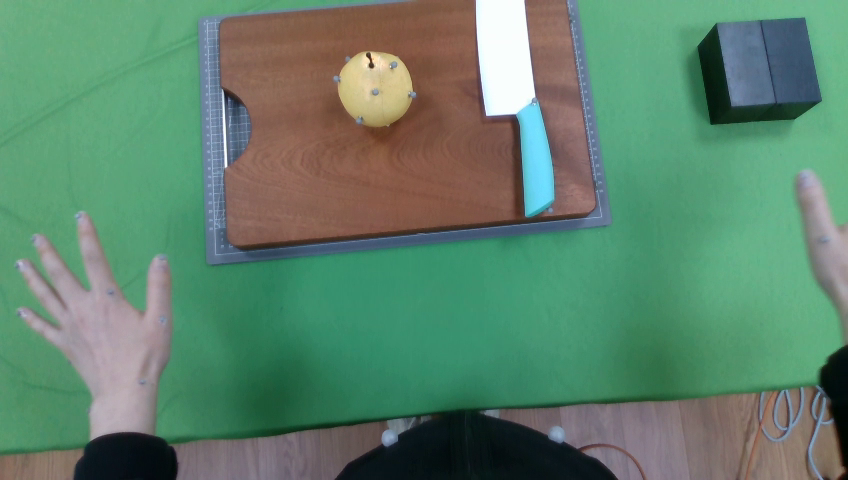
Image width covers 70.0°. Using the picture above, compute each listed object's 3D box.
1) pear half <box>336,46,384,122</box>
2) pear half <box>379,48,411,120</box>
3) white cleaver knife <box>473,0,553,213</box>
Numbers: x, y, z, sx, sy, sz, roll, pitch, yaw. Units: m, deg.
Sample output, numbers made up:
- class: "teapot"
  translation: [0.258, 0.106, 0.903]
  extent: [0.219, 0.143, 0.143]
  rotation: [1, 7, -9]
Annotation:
- class: "pear half"
  translation: [-0.064, -0.167, 0.621]
  extent: [0.056, 0.110, 0.076]
  rotation: [-3, 74, 0]
- class: "pear half"
  translation: [-0.030, -0.165, 0.631]
  extent: [0.031, 0.088, 0.070]
  rotation: [-2, 74, -1]
- class: "white cleaver knife"
  translation: [0.095, -0.165, 0.672]
  extent: [0.066, 0.021, 0.284]
  rotation: [-6, 74, 4]
